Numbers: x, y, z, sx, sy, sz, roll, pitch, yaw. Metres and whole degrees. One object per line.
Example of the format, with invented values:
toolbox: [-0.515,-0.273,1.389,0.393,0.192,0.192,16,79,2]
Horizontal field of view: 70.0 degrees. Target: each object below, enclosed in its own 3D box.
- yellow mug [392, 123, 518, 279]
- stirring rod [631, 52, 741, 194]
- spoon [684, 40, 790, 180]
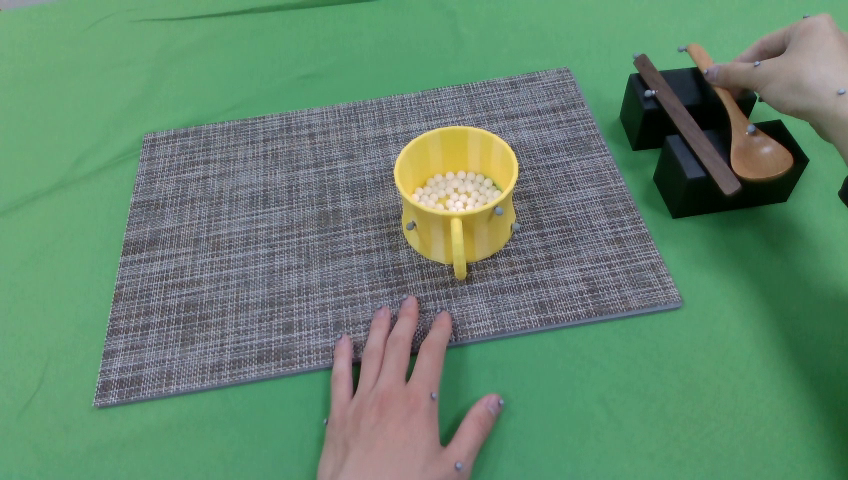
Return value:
yellow mug: [0.027,-0.028,0.495,0.100,0.064,0.129,-3,53,3]
stirring rod: [0.216,-0.105,0.511,0.014,0.006,0.174,-36,49,25]
spoon: [0.255,-0.118,0.511,0.041,0.022,0.191,-23,48,23]
